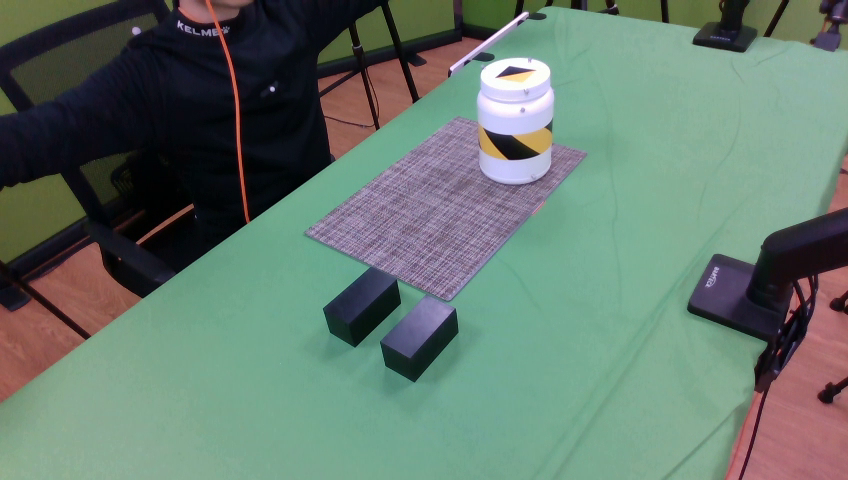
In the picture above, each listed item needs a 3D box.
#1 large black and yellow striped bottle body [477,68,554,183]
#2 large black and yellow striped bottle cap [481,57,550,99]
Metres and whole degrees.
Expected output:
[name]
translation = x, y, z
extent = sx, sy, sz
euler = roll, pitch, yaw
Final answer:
[large black and yellow striped bottle body]
translation = 0.159, -0.206, 1.054
extent = 0.131, 0.185, 0.130
euler = -4, 41, 4
[large black and yellow striped bottle cap]
translation = 0.151, -0.270, 1.001
extent = 0.115, 0.019, 0.114
euler = -4, 42, 4
